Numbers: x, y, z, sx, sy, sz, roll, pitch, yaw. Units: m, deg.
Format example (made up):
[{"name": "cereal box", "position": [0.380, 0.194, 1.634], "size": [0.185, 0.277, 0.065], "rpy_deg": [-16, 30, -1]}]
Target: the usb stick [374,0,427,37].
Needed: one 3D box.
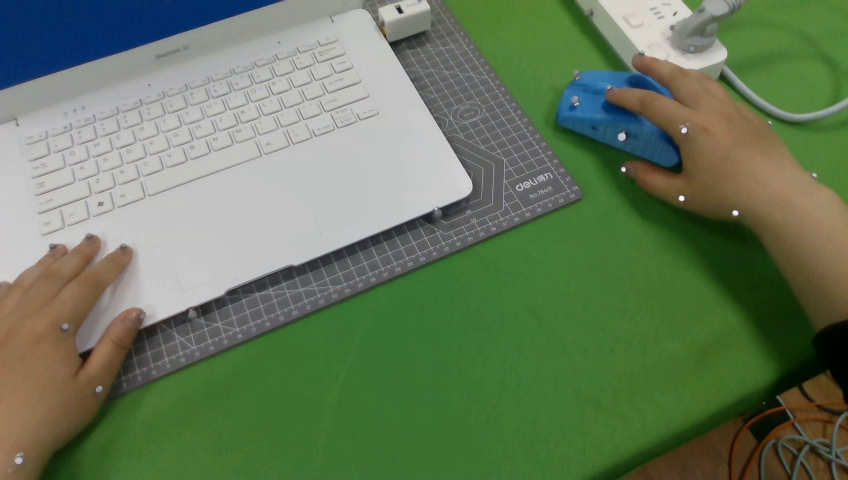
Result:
[{"name": "usb stick", "position": [-0.028, -0.204, 0.552], "size": [0.059, 0.027, 0.021], "rpy_deg": [-23, 62, -7]}]

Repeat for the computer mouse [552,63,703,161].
[{"name": "computer mouse", "position": [0.167, -0.112, 0.497], "size": [0.116, 0.041, 0.062], "rpy_deg": [24, 66, 20]}]

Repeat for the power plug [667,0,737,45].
[{"name": "power plug", "position": [0.244, -0.184, 0.515], "size": [0.072, 0.053, 0.035], "rpy_deg": [-10, 63, -5]}]

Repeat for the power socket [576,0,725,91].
[{"name": "power socket", "position": [0.189, -0.224, 0.562], "size": [0.072, 0.033, 0.224], "rpy_deg": [-20, 61, -9]}]

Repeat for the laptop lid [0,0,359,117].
[{"name": "laptop lid", "position": [-0.234, -0.232, 0.455], "size": [0.357, 0.244, 0.013], "rpy_deg": [-24, 49, -10]}]

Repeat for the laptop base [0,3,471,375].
[{"name": "laptop base", "position": [-0.168, -0.063, 0.491], "size": [0.355, 0.023, 0.233], "rpy_deg": [-23, 66, -11]}]
